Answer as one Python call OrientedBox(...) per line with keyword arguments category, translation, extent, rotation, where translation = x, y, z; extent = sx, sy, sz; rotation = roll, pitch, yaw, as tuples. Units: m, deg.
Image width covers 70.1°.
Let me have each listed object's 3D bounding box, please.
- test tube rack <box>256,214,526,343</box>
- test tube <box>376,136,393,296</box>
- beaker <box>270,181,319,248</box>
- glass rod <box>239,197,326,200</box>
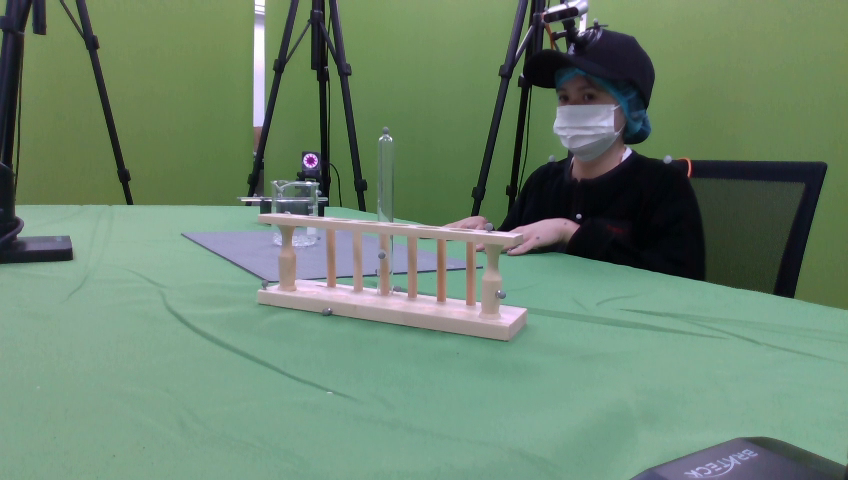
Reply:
OrientedBox(category="test tube rack", translation=(-0.032, 0.027, 0.547), extent=(0.241, 0.085, 0.067), rotation=(5, 7, 22))
OrientedBox(category="test tube", translation=(-0.037, -0.021, 0.565), extent=(0.017, 0.150, 0.017), rotation=(1, 6, 0))
OrientedBox(category="beaker", translation=(-0.203, -0.040, 0.935), extent=(0.074, 0.100, 0.084), rotation=(5, 8, 18))
OrientedBox(category="glass rod", translation=(-0.288, -0.087, 1.250), extent=(0.201, 0.008, 0.008), rotation=(-4, 10, -42))
